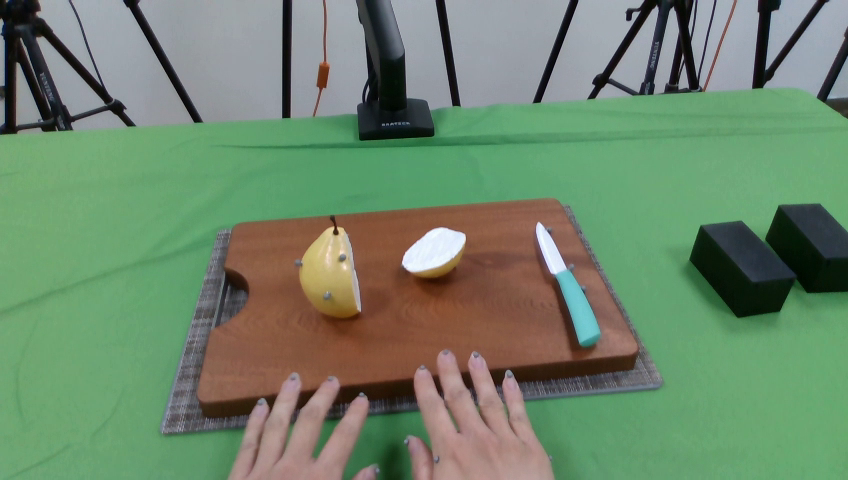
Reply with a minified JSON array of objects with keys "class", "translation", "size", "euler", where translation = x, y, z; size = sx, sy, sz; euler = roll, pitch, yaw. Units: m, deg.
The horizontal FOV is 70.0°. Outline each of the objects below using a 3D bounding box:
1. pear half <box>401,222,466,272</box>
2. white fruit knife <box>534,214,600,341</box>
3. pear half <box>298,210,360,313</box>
[{"class":"pear half","translation":[0.013,0.012,0.644],"size":[0.070,0.031,0.087],"euler":[-10,23,13]},{"class":"white fruit knife","translation":[0.144,0.029,0.632],"size":[0.027,0.016,0.205],"euler":[8,35,-13]},{"class":"pear half","translation":[-0.093,0.018,0.576],"size":[0.056,0.111,0.075],"euler":[-10,36,-10]}]
